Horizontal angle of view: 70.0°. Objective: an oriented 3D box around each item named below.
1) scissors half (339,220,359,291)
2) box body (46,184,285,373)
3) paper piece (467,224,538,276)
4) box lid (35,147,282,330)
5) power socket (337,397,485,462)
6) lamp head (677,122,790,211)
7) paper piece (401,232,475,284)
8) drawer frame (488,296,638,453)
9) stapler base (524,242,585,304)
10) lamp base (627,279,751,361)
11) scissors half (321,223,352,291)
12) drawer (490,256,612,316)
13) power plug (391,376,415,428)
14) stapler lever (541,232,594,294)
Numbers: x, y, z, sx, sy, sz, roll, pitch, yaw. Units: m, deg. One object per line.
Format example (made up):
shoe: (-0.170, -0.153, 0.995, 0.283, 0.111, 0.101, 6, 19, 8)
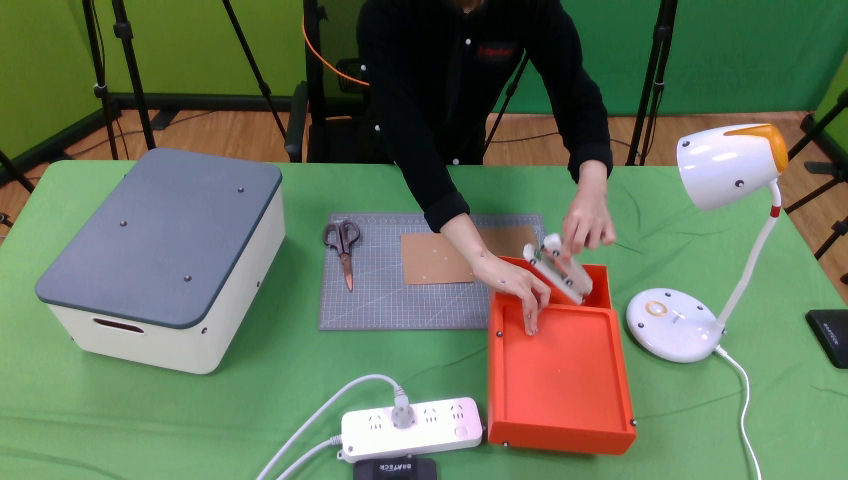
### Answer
scissors half: (-0.144, 0.026, 1.162, 0.040, 0.013, 0.174, -8, 50, 1)
box body: (-0.414, 0.029, 1.039, 0.254, 0.161, 0.362, 10, 46, 5)
paper piece: (0.163, 0.019, 1.198, 0.136, 0.009, 0.137, -1, 45, -10)
box lid: (-0.411, -0.023, 0.987, 0.263, 0.015, 0.369, 10, 47, 5)
power socket: (-0.018, 0.285, 0.915, 0.227, 0.033, 0.071, -5, 46, -8)
lamp head: (0.424, -0.104, 0.819, 0.122, 0.113, 0.112, -13, 33, 40)
paper piece: (0.025, 0.032, 1.175, 0.135, 0.004, 0.135, 0, 46, -6)
drawer frame: (0.201, 0.199, 0.918, 0.202, 0.083, 0.212, 5, 49, 0)
stapler base: (0.218, 0.048, 0.982, 0.131, 0.024, 0.041, 41, 37, -12)
lamp base: (0.459, 0.100, 1.027, 0.178, 0.181, 0.160, 27, 51, 17)
scissors half: (-0.163, 0.031, 1.160, 0.040, 0.013, 0.174, -17, 51, -14)
drawer: (0.206, 0.132, 0.982, 0.194, 0.073, 0.210, 6, 49, 0)
power plug: (-0.030, 0.249, 0.917, 0.035, 0.053, 0.072, 3, 46, 0)
stapler lever: (0.235, 0.035, 0.968, 0.118, 0.040, 0.026, 42, 36, -12)
